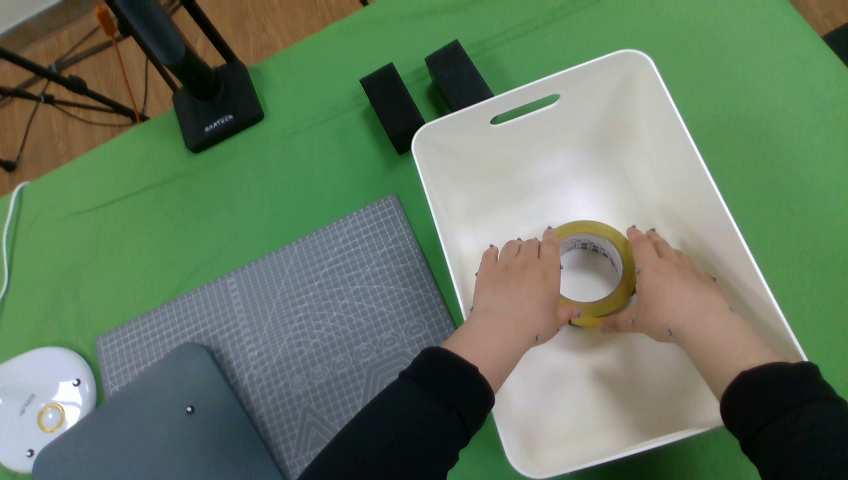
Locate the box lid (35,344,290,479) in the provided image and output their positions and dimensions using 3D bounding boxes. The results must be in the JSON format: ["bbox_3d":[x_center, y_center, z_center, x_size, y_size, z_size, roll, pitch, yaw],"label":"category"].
[{"bbox_3d":[-0.278,0.328,0.697,0.263,0.015,0.368,-38,69,-4],"label":"box lid"}]

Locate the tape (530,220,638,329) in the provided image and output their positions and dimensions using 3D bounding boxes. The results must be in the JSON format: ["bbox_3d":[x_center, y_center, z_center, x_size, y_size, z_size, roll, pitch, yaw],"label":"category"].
[{"bbox_3d":[0.176,0.037,0.672,0.116,0.053,0.116,-4,70,11],"label":"tape"}]

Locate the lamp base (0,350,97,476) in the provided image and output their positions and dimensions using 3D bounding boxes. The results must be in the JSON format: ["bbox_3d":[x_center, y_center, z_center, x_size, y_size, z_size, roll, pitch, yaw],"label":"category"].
[{"bbox_3d":[-0.527,0.194,0.721,0.178,0.182,0.160,11,73,20],"label":"lamp base"}]

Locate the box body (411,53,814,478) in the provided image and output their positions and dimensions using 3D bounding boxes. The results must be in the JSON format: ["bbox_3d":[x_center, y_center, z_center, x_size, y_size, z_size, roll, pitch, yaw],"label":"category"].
[{"bbox_3d":[0.164,0.030,0.624,0.254,0.162,0.361,-20,67,6],"label":"box body"}]
